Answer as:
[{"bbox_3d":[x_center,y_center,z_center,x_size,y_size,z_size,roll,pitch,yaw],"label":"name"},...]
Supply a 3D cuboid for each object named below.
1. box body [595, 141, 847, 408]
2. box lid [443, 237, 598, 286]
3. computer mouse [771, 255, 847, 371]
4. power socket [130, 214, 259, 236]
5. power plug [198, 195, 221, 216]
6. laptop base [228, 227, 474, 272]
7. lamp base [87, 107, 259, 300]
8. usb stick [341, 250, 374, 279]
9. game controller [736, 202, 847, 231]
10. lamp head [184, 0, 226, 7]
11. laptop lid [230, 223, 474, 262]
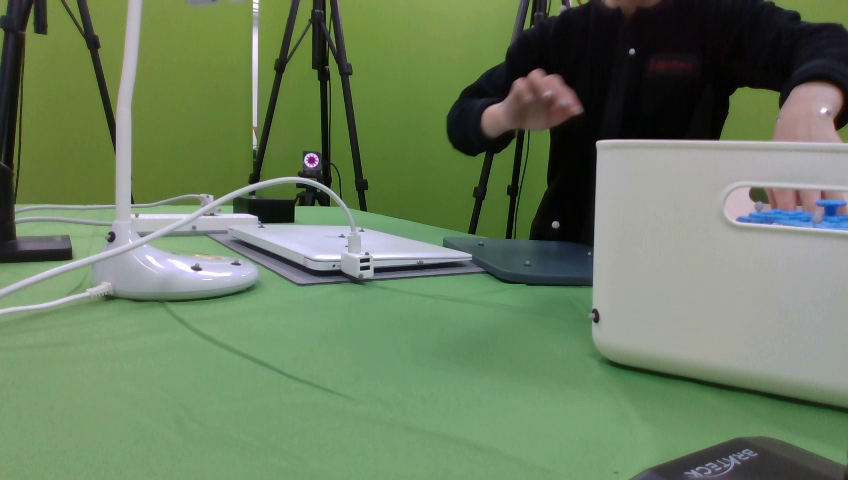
[{"bbox_3d":[0.309,0.007,0.510,0.253,0.160,0.366,6,8,29],"label":"box body"},{"bbox_3d":[0.191,0.028,0.903,0.264,0.015,0.370,2,7,-12],"label":"box lid"},{"bbox_3d":[0.345,0.057,0.519,0.063,0.041,0.117,12,47,4],"label":"computer mouse"},{"bbox_3d":[-0.397,-0.028,1.048,0.228,0.032,0.072,-3,7,-35],"label":"power socket"},{"bbox_3d":[-0.386,-0.055,1.088,0.035,0.052,0.072,-2,6,-24],"label":"power plug"},{"bbox_3d":[-0.124,0.011,0.889,0.237,0.023,0.352,2,6,-35],"label":"laptop base"},{"bbox_3d":[-0.254,-0.039,0.603,0.160,0.180,0.179,5,10,18],"label":"lamp base"},{"bbox_3d":[-0.078,0.026,0.686,0.021,0.027,0.059,-8,8,-30],"label":"usb stick"},{"bbox_3d":[0.291,0.000,0.426,0.097,0.051,0.155,-1,7,5],"label":"game controller"},{"bbox_3d":[-0.229,-0.320,0.627,0.112,0.112,0.123,6,-35,26],"label":"lamp head"},{"bbox_3d":[-0.121,0.000,0.888,0.243,0.013,0.355,1,7,-33],"label":"laptop lid"}]
